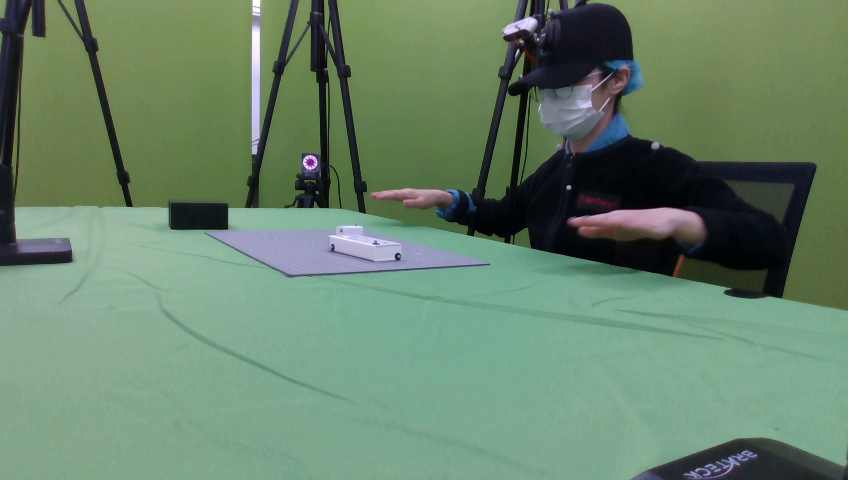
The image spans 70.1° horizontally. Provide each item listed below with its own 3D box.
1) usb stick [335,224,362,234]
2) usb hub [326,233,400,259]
[{"bbox_3d":[-0.135,-0.013,1.040,0.021,0.027,0.059,11,14,42],"label":"usb stick"},{"bbox_3d":[-0.092,0.008,0.892,0.050,0.025,0.124,-5,9,-40],"label":"usb hub"}]
